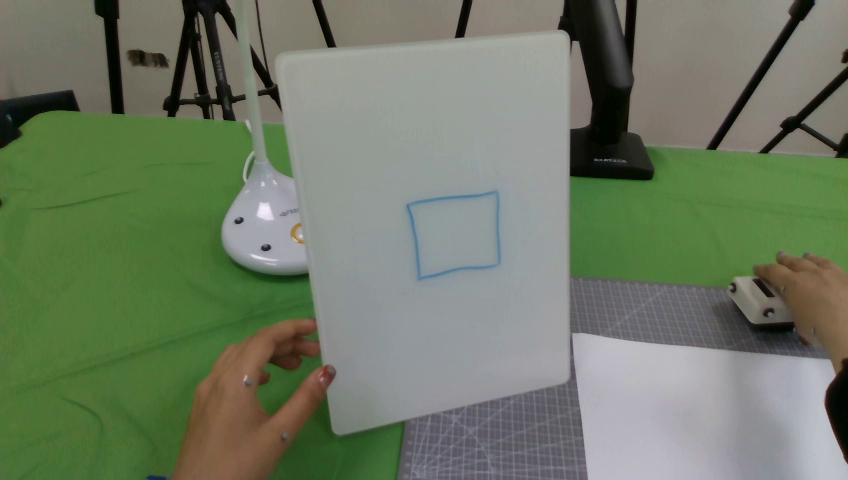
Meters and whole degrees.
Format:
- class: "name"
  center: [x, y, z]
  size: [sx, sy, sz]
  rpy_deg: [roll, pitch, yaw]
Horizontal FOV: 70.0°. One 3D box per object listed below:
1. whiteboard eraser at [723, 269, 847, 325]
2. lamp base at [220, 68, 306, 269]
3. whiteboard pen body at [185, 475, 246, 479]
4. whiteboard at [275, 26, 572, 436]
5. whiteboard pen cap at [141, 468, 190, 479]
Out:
- class: "whiteboard eraser"
  center: [0.371, 0.059, 0.618]
  size: [0.113, 0.042, 0.055]
  rpy_deg: [-1, 36, -5]
- class: "lamp base"
  center: [-0.161, -0.086, 0.667]
  size: [0.161, 0.182, 0.177]
  rpy_deg: [-29, 45, -34]
- class: "whiteboard pen body"
  center: [-0.131, 0.185, 0.446]
  size: [0.141, 0.017, 0.017]
  rpy_deg: [5, 38, 1]
- class: "whiteboard"
  center: [-0.001, -0.019, 0.535]
  size: [0.218, 0.307, 0.142]
  rpy_deg: [-9, 20, -13]
- class: "whiteboard pen cap"
  center: [-0.190, 0.178, 0.447]
  size: [0.033, 0.018, 0.018]
  rpy_deg: [5, 38, 0]
